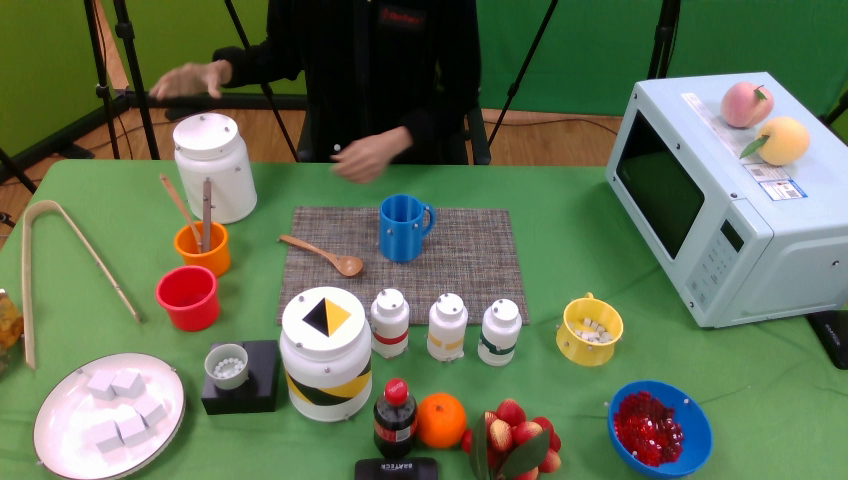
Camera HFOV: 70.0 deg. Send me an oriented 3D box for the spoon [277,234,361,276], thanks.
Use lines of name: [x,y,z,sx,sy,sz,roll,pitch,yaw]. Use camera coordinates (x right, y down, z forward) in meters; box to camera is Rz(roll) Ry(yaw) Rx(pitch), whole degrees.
spoon: [-0.202,0.023,1.154,0.193,0.022,0.041,23,69,17]

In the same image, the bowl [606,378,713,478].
bowl: [0.340,0.292,0.906,0.151,0.077,0.150,2,46,-2]

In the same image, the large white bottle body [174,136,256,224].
large white bottle body: [-0.407,-0.137,1.183,0.131,0.185,0.130,2,46,-2]

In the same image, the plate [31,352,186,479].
plate: [-0.459,0.262,0.898,0.209,0.038,0.208,2,46,-2]

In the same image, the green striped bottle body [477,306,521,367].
green striped bottle body: [0.124,0.151,0.995,0.063,0.120,0.063,2,46,-2]

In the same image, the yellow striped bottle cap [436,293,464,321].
yellow striped bottle cap: [0.041,0.106,0.959,0.044,0.019,0.044,-1,49,1]

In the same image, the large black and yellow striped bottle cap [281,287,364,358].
large black and yellow striped bottle cap: [-0.141,0.112,0.847,0.115,0.019,0.114,5,45,-4]

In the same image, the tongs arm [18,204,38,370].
tongs arm: [-0.698,0.070,1.069,0.028,0.028,0.385,-21,51,-13]

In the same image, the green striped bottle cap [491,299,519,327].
green striped bottle cap: [0.128,0.115,0.958,0.044,0.020,0.044,1,47,-1]

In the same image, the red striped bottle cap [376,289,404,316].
red striped bottle cap: [-0.055,0.098,0.958,0.044,0.018,0.044,0,48,1]

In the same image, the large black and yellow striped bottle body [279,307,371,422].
large black and yellow striped bottle body: [-0.145,0.173,0.907,0.131,0.185,0.130,2,46,-2]

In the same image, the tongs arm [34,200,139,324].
tongs arm: [-0.622,0.034,1.105,0.051,0.026,0.382,-32,56,-25]

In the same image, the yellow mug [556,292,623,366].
yellow mug: [0.285,0.145,1.051,0.100,0.064,0.130,7,45,3]

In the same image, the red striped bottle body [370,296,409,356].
red striped bottle body: [-0.058,0.134,0.997,0.063,0.120,0.062,4,47,-4]

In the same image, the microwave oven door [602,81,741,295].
microwave oven door: [0.456,-0.107,1.162,0.039,0.245,0.353,-7,47,-11]

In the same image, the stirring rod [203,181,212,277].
stirring rod: [-0.396,-0.021,1.108,0.014,0.006,0.176,-1,89,-1]

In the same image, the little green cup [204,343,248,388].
little green cup: [-0.294,0.190,0.909,0.061,0.039,0.061,1,48,0]

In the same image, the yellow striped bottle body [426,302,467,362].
yellow striped bottle body: [0.037,0.142,0.996,0.063,0.121,0.062,2,46,-2]

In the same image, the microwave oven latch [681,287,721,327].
microwave oven latch: [0.494,0.119,1.087,0.030,0.029,0.078,-6,46,-9]

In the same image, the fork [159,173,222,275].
fork: [-0.427,-0.029,1.103,0.028,0.018,0.207,-31,99,-30]

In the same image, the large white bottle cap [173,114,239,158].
large white bottle cap: [-0.403,-0.195,1.122,0.115,0.018,0.114,2,47,-2]

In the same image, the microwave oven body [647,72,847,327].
microwave oven body: [0.607,-0.089,1.164,0.326,0.261,0.438,-7,46,-10]

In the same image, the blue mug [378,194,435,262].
blue mug: [-0.032,-0.027,1.160,0.116,0.106,0.082,-19,51,-21]
